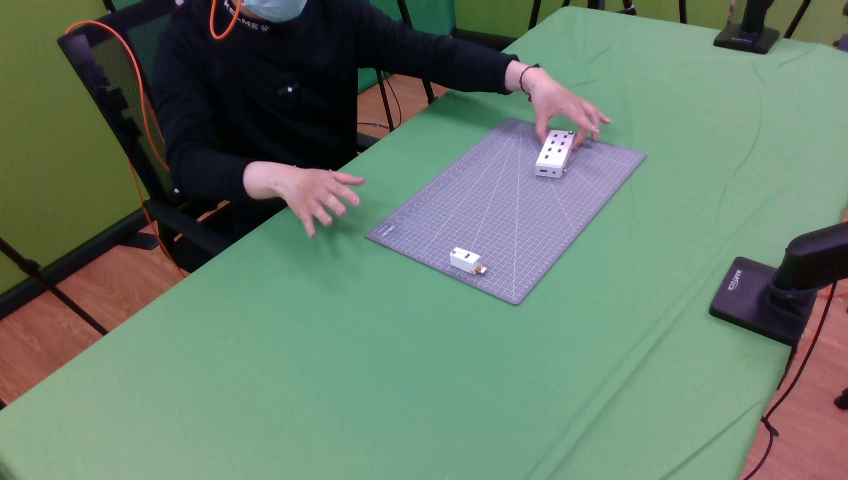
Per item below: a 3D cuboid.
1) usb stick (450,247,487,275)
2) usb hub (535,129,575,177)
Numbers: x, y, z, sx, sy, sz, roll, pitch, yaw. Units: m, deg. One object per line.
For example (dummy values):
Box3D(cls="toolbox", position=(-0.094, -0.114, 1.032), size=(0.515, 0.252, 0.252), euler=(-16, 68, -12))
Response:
Box3D(cls="usb stick", position=(0.069, 0.033, 0.912), size=(0.059, 0.027, 0.021), euler=(24, 48, 28))
Box3D(cls="usb hub", position=(0.243, -0.161, 1.115), size=(0.049, 0.025, 0.125), euler=(10, 44, 20))
